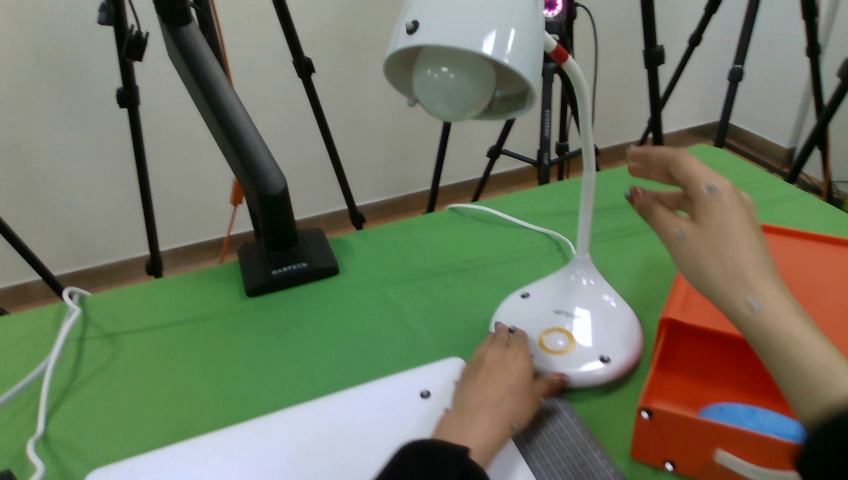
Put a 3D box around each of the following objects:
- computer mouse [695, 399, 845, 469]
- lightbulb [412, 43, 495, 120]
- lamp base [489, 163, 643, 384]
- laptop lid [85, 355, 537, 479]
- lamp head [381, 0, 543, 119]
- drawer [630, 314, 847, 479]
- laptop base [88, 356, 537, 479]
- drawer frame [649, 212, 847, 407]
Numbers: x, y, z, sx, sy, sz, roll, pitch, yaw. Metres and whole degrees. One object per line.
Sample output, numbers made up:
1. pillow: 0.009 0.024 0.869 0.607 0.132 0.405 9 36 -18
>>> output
1. computer mouse: 0.283 0.169 0.496 0.116 0.041 0.062 13 33 16
2. lightbulb: 0.028 -0.139 0.438 0.059 0.060 0.107 12 79 24
3. lamp base: 0.148 0.024 0.619 0.160 0.181 0.178 7 31 18
4. laptop lid: -0.087 0.217 0.477 0.357 0.013 0.239 -14 36 -14
5. lamp head: 0.039 -0.161 0.436 0.112 0.113 0.122 12 75 24
6. drawer: 0.305 0.126 0.537 0.193 0.074 0.211 12 36 25
7. laptop base: -0.086 0.224 0.484 0.355 0.023 0.233 -15 38 -15
8. drawer frame: 0.356 0.068 0.616 0.200 0.083 0.213 12 36 25
